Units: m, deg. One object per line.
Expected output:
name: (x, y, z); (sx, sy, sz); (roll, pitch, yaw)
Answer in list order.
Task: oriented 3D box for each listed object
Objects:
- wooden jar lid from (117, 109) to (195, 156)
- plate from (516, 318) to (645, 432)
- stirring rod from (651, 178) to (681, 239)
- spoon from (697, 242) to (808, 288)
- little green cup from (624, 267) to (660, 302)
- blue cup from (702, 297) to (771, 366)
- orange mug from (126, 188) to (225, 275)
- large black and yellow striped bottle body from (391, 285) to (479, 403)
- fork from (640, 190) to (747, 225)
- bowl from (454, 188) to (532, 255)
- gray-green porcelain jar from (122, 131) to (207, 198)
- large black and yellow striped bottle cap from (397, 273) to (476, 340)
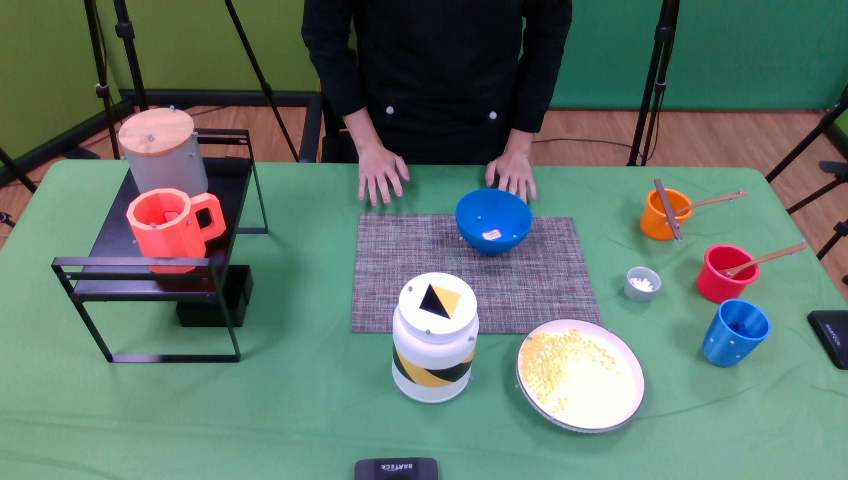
wooden jar lid: (-0.400, -0.159, 0.910); (0.108, 0.021, 0.107); (2, 47, -2)
plate: (0.253, 0.221, 0.992); (0.209, 0.038, 0.208); (2, 46, -2)
stirring rod: (0.479, -0.065, 1.204); (0.014, 0.006, 0.175); (3, 46, -4)
spoon: (0.601, 0.045, 1.116); (0.194, 0.022, 0.041); (-29, 34, 30)
little green cup: (0.406, 0.084, 1.135); (0.061, 0.039, 0.061); (3, 45, -3)
blue cup: (0.519, 0.162, 1.025); (0.093, 0.101, 0.092); (3, 45, -3)
orange mug: (-0.357, -0.020, 0.885); (0.126, 0.101, 0.083); (-29, 54, -23)
large black and yellow striped bottle body: (0.015, 0.153, 0.938); (0.131, 0.185, 0.130); (2, 46, -2)
fork: (0.533, -0.065, 1.211); (0.207, 0.019, 0.028); (-22, 27, 38)
bowl: (0.131, -0.025, 1.187); (0.151, 0.077, 0.150); (2, 46, -2)
gray-green porcelain jar: (-0.404, -0.116, 0.955); (0.106, 0.127, 0.105); (3, 46, -3)
large black and yellow striped bottle cap: (0.018, 0.094, 0.878); (0.115, 0.019, 0.114); (3, 46, -3)
